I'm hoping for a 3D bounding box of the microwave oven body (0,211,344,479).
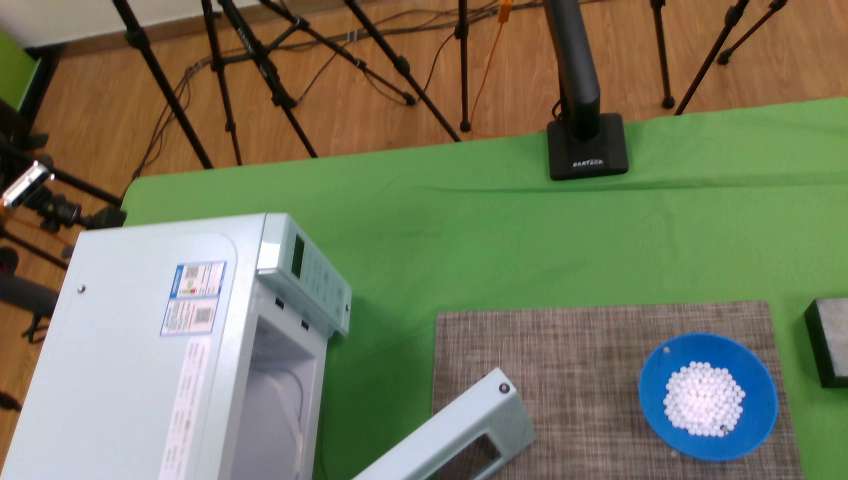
[{"bbox_3d":[-0.303,0.222,0.781,0.325,0.263,0.438,-5,62,12],"label":"microwave oven body"}]

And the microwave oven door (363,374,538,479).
[{"bbox_3d":[-0.033,0.292,0.665,0.356,0.246,0.039,-37,59,-6],"label":"microwave oven door"}]

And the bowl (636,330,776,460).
[{"bbox_3d":[0.332,0.192,0.730,0.151,0.077,0.150,-6,61,12],"label":"bowl"}]

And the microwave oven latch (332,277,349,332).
[{"bbox_3d":[-0.130,0.098,0.913,0.030,0.030,0.078,-5,62,12],"label":"microwave oven latch"}]
